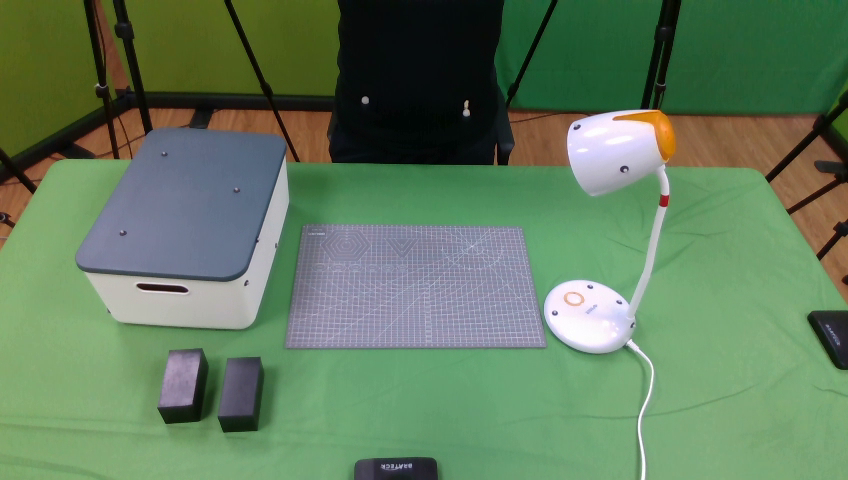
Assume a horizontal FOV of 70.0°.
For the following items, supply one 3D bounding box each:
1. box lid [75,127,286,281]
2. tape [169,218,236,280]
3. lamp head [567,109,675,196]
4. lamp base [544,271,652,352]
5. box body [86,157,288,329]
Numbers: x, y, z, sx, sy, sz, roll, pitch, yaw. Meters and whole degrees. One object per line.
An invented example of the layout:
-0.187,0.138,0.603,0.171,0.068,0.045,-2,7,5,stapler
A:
-0.398,-0.075,1.039,0.263,0.015,0.369,4,45,-1,box lid
-0.409,0.015,1.122,0.117,0.053,0.116,2,46,-2,tape
0.272,-0.123,0.818,0.122,0.113,0.112,-9,35,37,lamp head
0.309,0.086,1.029,0.178,0.181,0.160,32,52,21,lamp base
-0.401,-0.025,1.094,0.254,0.161,0.362,3,46,-1,box body
